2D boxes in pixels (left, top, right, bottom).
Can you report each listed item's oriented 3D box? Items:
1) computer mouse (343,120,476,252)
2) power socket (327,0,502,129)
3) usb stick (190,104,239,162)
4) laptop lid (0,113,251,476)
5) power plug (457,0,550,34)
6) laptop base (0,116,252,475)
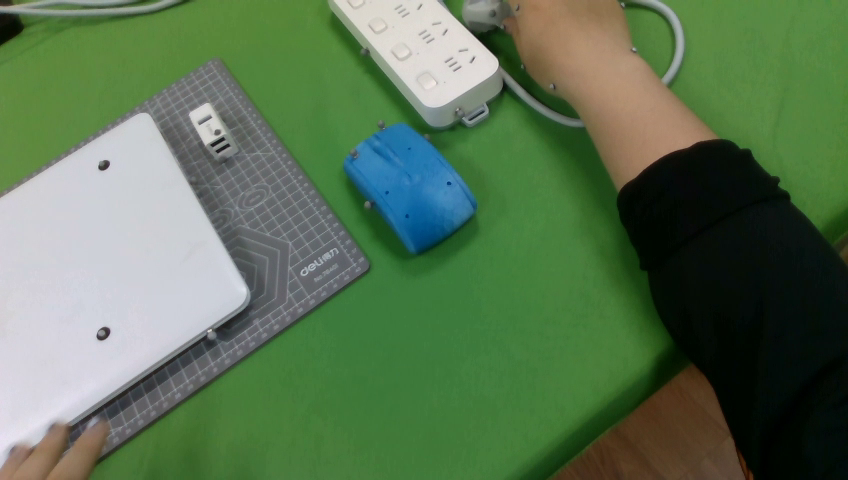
[{"bbox_3d":[-0.015,-0.046,0.452,0.063,0.041,0.116,-36,55,-4],"label":"computer mouse"},{"bbox_3d":[-0.015,-0.181,0.528,0.072,0.033,0.224,-33,59,-5],"label":"power socket"},{"bbox_3d":[-0.183,-0.097,0.524,0.021,0.027,0.058,-34,57,-4],"label":"usb stick"},{"bbox_3d":[-0.326,0.062,0.464,0.357,0.013,0.239,-34,62,-6],"label":"laptop lid"},{"bbox_3d":[0.064,-0.195,0.528,0.073,0.035,0.052,2,28,-23],"label":"power plug"},{"bbox_3d":[-0.325,0.066,0.475,0.354,0.023,0.233,-35,63,-7],"label":"laptop base"}]
